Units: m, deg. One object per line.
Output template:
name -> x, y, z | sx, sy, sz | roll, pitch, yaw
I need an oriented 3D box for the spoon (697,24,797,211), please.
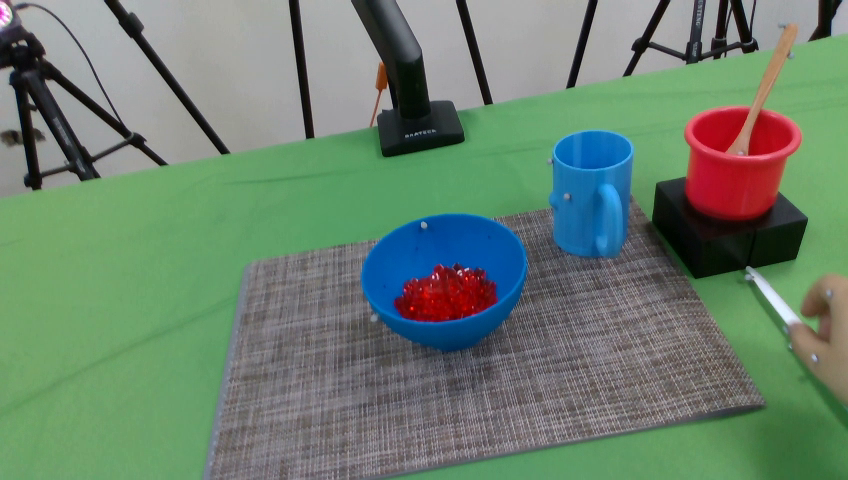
spoon -> 0.313, -0.116, 0.576 | 0.041, 0.022, 0.194 | 25, 95, 38

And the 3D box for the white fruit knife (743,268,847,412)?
white fruit knife -> 0.323, 0.089, 0.507 | 0.027, 0.016, 0.205 | 11, 34, -16

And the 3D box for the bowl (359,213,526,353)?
bowl -> 0.021, 0.051, 0.563 | 0.151, 0.077, 0.150 | -6, 39, 6

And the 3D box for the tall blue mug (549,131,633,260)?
tall blue mug -> 0.179, -0.038, 0.612 | 0.078, 0.109, 0.106 | -28, 41, -21
